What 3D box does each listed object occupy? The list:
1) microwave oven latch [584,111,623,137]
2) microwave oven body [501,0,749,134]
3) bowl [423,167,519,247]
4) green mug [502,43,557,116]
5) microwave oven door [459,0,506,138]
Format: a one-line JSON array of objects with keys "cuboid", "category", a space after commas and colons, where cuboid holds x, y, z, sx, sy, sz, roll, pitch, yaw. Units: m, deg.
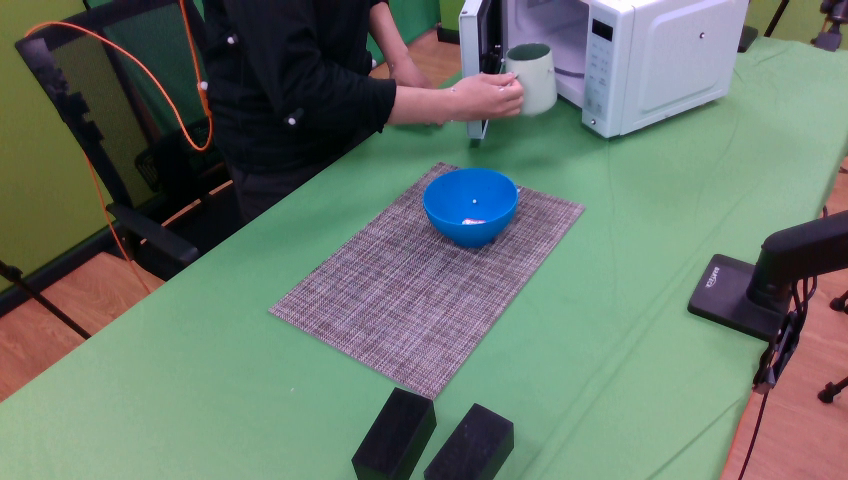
[{"cuboid": [0.337, -0.222, 1.142, 0.030, 0.029, 0.078, -21, 42, -14], "category": "microwave oven latch"}, {"cuboid": [0.382, -0.445, 1.246, 0.327, 0.261, 0.437, -22, 42, -16], "category": "microwave oven body"}, {"cuboid": [0.075, -0.041, 0.958, 0.151, 0.077, 0.150, -4, 41, 4], "category": "bowl"}, {"cuboid": [0.179, -0.274, 1.065, 0.092, 0.105, 0.125, 22, 50, 35], "category": "green mug"}, {"cuboid": [0.125, -0.404, 1.226, 0.039, 0.245, 0.355, 2, 42, 14], "category": "microwave oven door"}]
